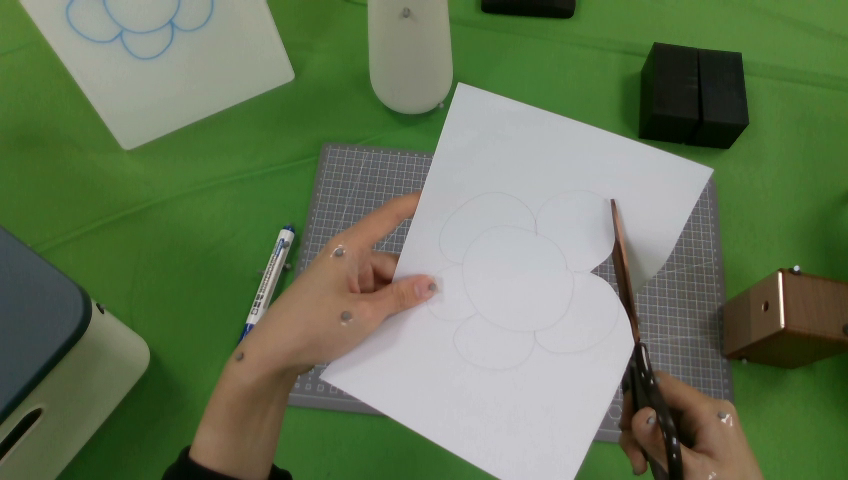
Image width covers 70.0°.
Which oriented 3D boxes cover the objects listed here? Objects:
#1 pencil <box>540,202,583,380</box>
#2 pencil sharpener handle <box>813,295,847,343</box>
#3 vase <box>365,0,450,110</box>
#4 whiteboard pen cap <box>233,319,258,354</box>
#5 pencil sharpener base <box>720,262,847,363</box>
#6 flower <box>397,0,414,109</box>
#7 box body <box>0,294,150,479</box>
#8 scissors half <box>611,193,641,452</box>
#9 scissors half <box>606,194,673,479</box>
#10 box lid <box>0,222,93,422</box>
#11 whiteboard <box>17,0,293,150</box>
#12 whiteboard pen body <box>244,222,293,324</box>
[{"bbox_3d":[0.144,0.049,0.630,0.012,0.012,0.192,-7,69,-3],"label":"pencil"},{"bbox_3d":[0.390,0.077,0.556,0.030,0.068,0.035,10,61,1],"label":"pencil sharpener handle"},{"bbox_3d":[-0.020,-0.230,0.647,0.098,0.201,0.097,0,65,1],"label":"vase"},{"bbox_3d":[-0.177,0.096,0.604,0.018,0.018,0.033,11,63,5],"label":"whiteboard pen cap"},{"bbox_3d":[0.339,0.072,0.569,0.077,0.107,0.061,10,66,1],"label":"pencil sharpener base"},{"bbox_3d":[-0.026,-0.276,0.576,0.044,0.365,0.038,-1,49,3],"label":"flower"},{"bbox_3d":[-0.469,0.083,0.533,0.362,0.161,0.253,31,71,12],"label":"box body"},{"bbox_3d":[0.127,0.055,0.375,0.013,0.040,0.176,-9,111,10],"label":"scissors half"},{"bbox_3d":[0.124,0.058,0.354,0.013,0.040,0.175,-10,87,5],"label":"scissors half"},{"bbox_3d":[-0.471,0.052,0.465,0.370,0.015,0.262,31,70,12],"label":"box lid"},{"bbox_3d":[-0.308,-0.293,0.648,0.217,0.308,0.142,-27,50,-10],"label":"whiteboard"},{"bbox_3d":[-0.164,0.043,0.628,0.017,0.017,0.140,12,66,6],"label":"whiteboard pen body"}]
